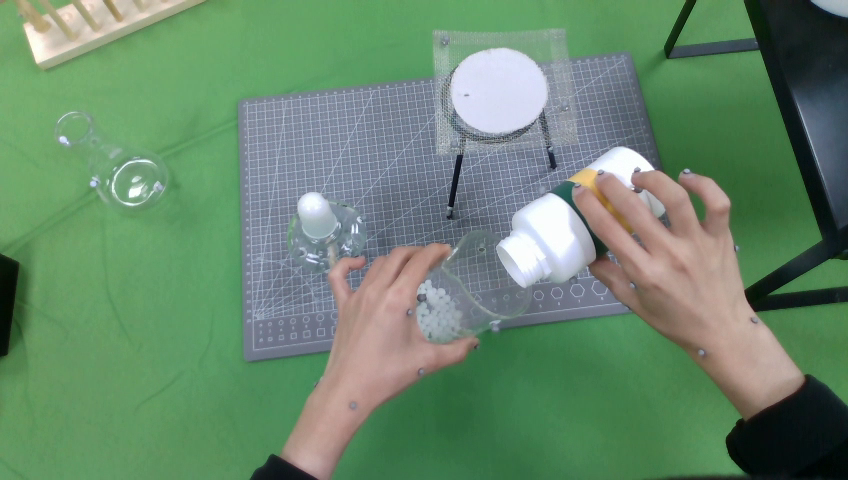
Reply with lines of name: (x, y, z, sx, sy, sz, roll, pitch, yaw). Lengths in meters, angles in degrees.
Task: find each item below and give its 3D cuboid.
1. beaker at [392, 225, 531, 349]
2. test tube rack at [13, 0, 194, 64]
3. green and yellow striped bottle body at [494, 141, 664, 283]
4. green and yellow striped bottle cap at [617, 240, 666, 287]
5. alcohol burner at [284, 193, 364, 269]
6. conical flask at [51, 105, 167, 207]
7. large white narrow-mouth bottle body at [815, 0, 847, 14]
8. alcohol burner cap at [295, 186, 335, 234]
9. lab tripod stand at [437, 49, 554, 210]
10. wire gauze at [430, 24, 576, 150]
beaker: (0.024, 0.042, 0.493, 0.084, 0.100, 0.073, 12, 57, -32)
test tube rack: (-0.363, -0.302, 0.702, 0.242, 0.086, 0.066, -26, 72, -7)
green and yellow striped bottle body: (0.111, -0.017, 0.449, 0.119, 0.063, 0.063, -34, 72, -7)
green and yellow striped bottle cap: (0.217, 0.023, 0.602, 0.045, 0.020, 0.045, -1, 71, 4)
alcohol burner: (-0.097, -0.016, 0.576, 0.078, 0.120, 0.077, 0, 69, 1)
conical flask: (-0.319, -0.088, 0.607, 0.075, 0.122, 0.075, -1, 70, 2)
large white narrow-mouth bottle body: (0.347, -0.256, 0.412, 0.102, 0.196, 0.101, -1, 69, 2)
alcohol burner cap: (-0.100, -0.029, 0.542, 0.034, 0.048, 0.033, 0, 64, 0)
lab tripod stand: (0.063, -0.110, 0.592, 0.148, 0.132, 0.147, 0, 69, 1)
wire gauze: (0.068, -0.138, 0.529, 0.121, 0.011, 0.124, -2, 71, 0)
